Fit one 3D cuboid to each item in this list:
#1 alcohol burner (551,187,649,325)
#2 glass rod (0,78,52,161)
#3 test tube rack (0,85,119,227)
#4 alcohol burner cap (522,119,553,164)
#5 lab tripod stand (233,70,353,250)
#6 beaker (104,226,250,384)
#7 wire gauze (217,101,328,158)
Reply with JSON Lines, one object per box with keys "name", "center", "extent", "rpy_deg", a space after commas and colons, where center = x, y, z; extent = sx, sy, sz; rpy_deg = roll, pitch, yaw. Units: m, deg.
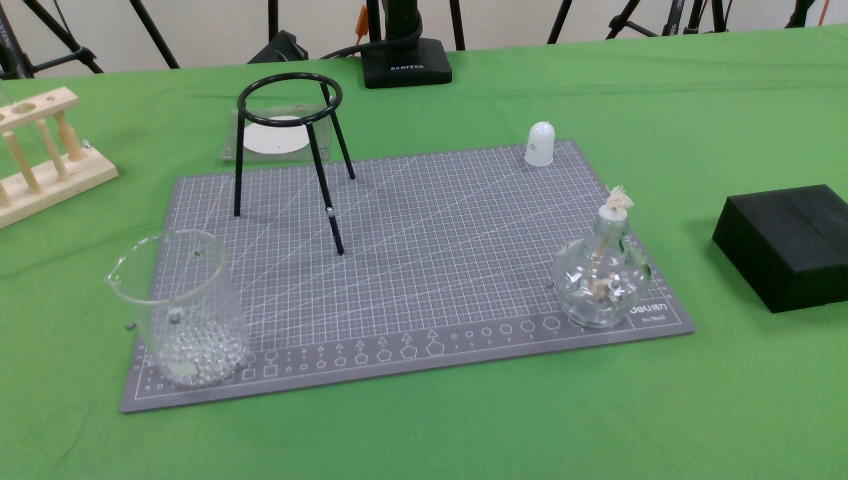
{"name": "alcohol burner", "center": [0.141, 0.010, 0.479], "extent": [0.078, 0.120, 0.077], "rpy_deg": [0, 40, 1]}
{"name": "glass rod", "center": [-0.414, -0.153, 0.592], "extent": [0.008, 0.202, 0.008], "rpy_deg": [-6, 43, 6]}
{"name": "test tube rack", "center": [-0.441, -0.060, 0.587], "extent": [0.066, 0.086, 0.242], "rpy_deg": [32, 51, 31]}
{"name": "alcohol burner cap", "center": [0.126, -0.111, 0.668], "extent": [0.034, 0.048, 0.033], "rpy_deg": [0, 42, 0]}
{"name": "lab tripod stand", "center": [-0.119, -0.077, 0.564], "extent": [0.148, 0.133, 0.147], "rpy_deg": [-1, 44, 1]}
{"name": "beaker", "center": [-0.175, 0.052, 0.446], "extent": [0.084, 0.101, 0.073], "rpy_deg": [-9, 42, -8]}
{"name": "wire gauze", "center": [-0.178, -0.131, 0.724], "extent": [0.125, 0.011, 0.120], "rpy_deg": [-5, 41, -3]}
